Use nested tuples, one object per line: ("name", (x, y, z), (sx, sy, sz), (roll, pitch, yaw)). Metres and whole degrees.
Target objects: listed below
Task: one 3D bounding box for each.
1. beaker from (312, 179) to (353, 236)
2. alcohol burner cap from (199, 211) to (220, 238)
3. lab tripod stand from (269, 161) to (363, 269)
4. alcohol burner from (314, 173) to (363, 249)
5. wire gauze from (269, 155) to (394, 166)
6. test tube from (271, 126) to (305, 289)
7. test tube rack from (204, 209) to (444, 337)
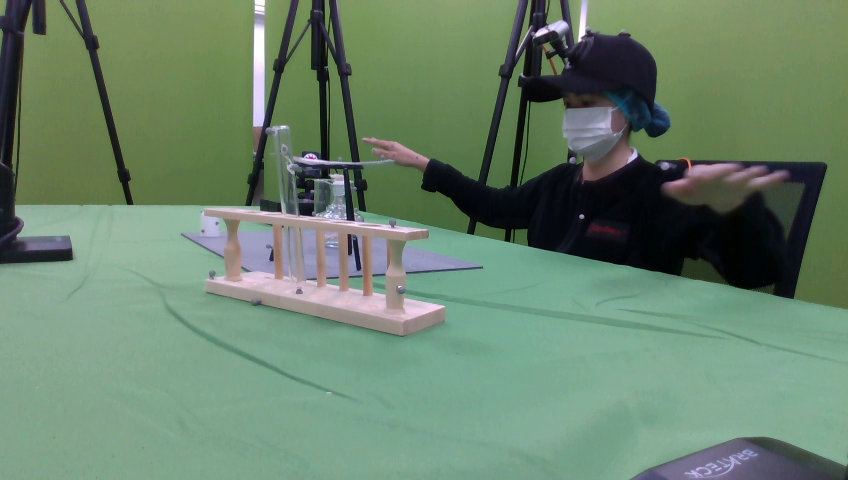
("beaker", (-0.168, -0.060, 1.104), (0.074, 0.100, 0.083), (1, 8, -13))
("alcohol burner cap", (-0.356, -0.027, 1.002), (0.034, 0.048, 0.034), (2, 7, 0))
("lab tripod stand", (-0.125, -0.036, 0.794), (0.148, 0.131, 0.148), (5, 7, 0))
("alcohol burner", (-0.135, -0.046, 0.952), (0.078, 0.119, 0.078), (1, 9, 0))
("wire gauze", (-0.121, -0.102, 0.785), (0.122, 0.011, 0.124), (-3, 10, -39))
("test tube", (-0.124, -0.028, 0.554), (0.017, 0.150, 0.017), (-5, 7, 1))
("test tube rack", (-0.100, 0.021, 0.565), (0.241, 0.085, 0.067), (7, 9, 32))
